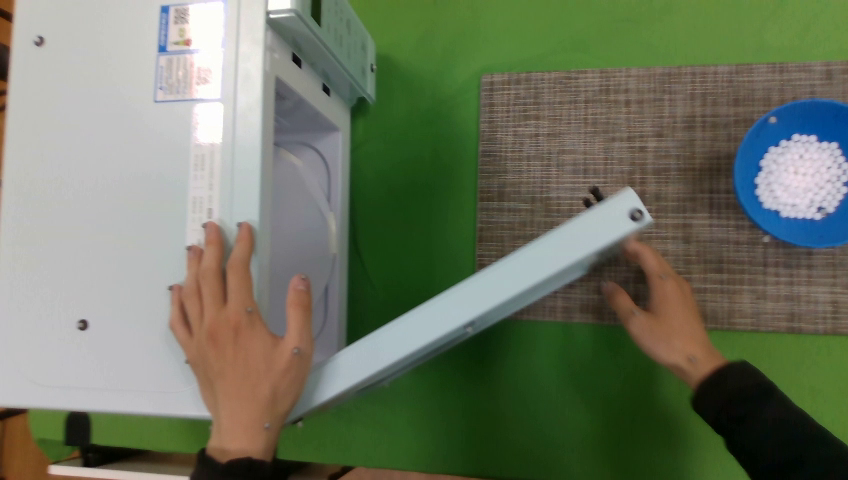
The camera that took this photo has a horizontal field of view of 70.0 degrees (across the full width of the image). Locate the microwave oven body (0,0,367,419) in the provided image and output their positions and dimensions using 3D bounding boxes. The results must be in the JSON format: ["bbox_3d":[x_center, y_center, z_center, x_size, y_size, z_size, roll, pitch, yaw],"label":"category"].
[{"bbox_3d":[-0.247,-0.052,0.670,0.325,0.261,0.440,-1,85,11],"label":"microwave oven body"}]

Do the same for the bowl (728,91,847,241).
[{"bbox_3d":[0.389,-0.070,0.630,0.151,0.077,0.151,-1,85,12],"label":"bowl"}]

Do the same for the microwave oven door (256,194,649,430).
[{"bbox_3d":[0.038,0.071,0.594,0.356,0.245,0.039,-30,78,8],"label":"microwave oven door"}]

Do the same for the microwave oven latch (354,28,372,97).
[{"bbox_3d":[-0.080,-0.220,0.749,0.030,0.029,0.079,-1,85,11],"label":"microwave oven latch"}]
